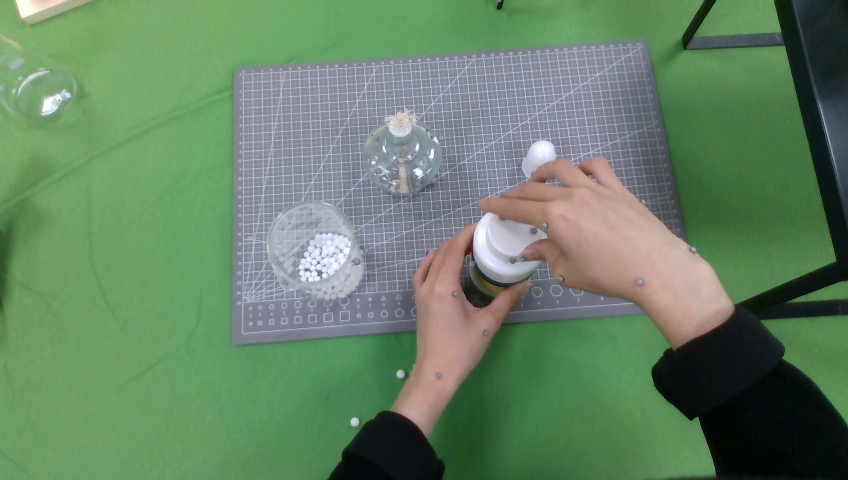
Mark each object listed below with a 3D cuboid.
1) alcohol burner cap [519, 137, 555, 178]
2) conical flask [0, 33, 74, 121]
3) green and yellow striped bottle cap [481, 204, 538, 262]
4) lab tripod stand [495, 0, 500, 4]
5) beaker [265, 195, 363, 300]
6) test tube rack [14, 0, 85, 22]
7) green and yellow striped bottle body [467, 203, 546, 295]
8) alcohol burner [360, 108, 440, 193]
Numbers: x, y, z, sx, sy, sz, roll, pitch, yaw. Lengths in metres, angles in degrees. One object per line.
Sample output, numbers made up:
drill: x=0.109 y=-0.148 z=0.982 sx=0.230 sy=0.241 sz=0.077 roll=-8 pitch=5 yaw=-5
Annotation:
alcohol burner cap: x=0.115 y=-0.086 z=0.607 sx=0.034 sy=0.048 sz=0.033 roll=0 pitch=74 yaw=0
conical flask: x=-0.412 y=-0.176 z=0.595 sx=0.075 sy=0.122 sz=0.075 roll=0 pitch=74 yaw=1
green and yellow striped bottle cap: x=0.069 y=-0.006 z=0.489 sx=0.045 sy=0.020 sz=0.045 roll=0 pitch=73 yaw=-1
lab tripod stand: x=0.139 y=-0.325 z=0.628 sx=0.148 sy=0.132 sz=0.147 roll=0 pitch=73 yaw=-1
beaker: x=-0.096 y=0.015 z=0.551 sx=0.074 sy=0.101 sz=0.083 roll=25 pitch=76 yaw=8
test tube rack: x=-0.350 y=-0.333 z=0.657 sx=0.242 sy=0.085 sz=0.066 roll=-25 pitch=75 yaw=-6
green and yellow striped bottle body: x=0.072 y=0.008 z=0.541 sx=0.063 sy=0.120 sz=0.063 roll=0 pitch=74 yaw=1
alcohol burner: x=-0.023 y=-0.090 z=0.571 sx=0.078 sy=0.119 sz=0.077 roll=0 pitch=73 yaw=-1
